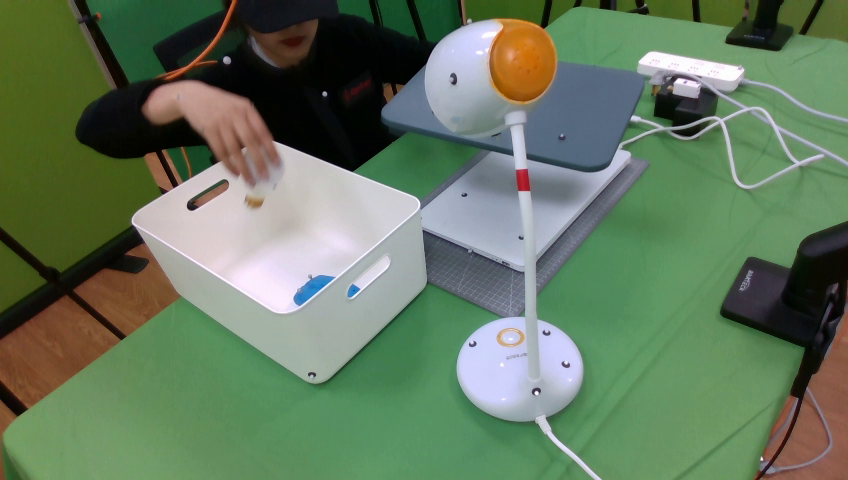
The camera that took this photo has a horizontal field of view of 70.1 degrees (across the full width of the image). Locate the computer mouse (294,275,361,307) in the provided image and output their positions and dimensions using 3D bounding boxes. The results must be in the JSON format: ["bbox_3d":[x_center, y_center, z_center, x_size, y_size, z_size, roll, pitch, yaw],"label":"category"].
[{"bbox_3d":[-0.138,0.084,0.891,0.116,0.041,0.063,19,49,37],"label":"computer mouse"}]

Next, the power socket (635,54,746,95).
[{"bbox_3d":[0.564,-0.357,1.293,0.225,0.033,0.072,24,51,33],"label":"power socket"}]

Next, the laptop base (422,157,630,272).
[{"bbox_3d":[0.176,-0.083,1.055,0.233,0.023,0.355,21,48,36],"label":"laptop base"}]

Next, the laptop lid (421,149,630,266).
[{"bbox_3d":[0.172,-0.093,1.049,0.239,0.013,0.358,23,50,36],"label":"laptop lid"}]

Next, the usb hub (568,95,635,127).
[{"bbox_3d":[0.360,-0.263,1.228,0.124,0.025,0.049,25,50,34],"label":"usb hub"}]

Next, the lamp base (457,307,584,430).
[{"bbox_3d":[0.115,0.108,0.713,0.161,0.181,0.178,-16,43,-8],"label":"lamp base"}]

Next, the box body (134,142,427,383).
[{"bbox_3d":[-0.201,0.018,0.896,0.361,0.161,0.255,23,50,33],"label":"box body"}]

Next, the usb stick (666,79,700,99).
[{"bbox_3d":[0.492,-0.288,1.152,0.058,0.027,0.021,20,50,34],"label":"usb stick"}]

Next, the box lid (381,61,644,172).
[{"bbox_3d":[0.143,-0.223,0.967,0.369,0.015,0.263,16,49,21],"label":"box lid"}]

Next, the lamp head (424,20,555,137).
[{"bbox_3d":[0.069,-0.153,0.572,0.113,0.112,0.122,-21,16,-14],"label":"lamp head"}]

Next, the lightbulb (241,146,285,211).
[{"bbox_3d":[-0.235,-0.085,0.867,0.060,0.107,0.059,17,37,-13],"label":"lightbulb"}]

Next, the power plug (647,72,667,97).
[{"bbox_3d":[0.493,-0.321,1.261,0.073,0.052,0.035,1,20,-41],"label":"power plug"}]
